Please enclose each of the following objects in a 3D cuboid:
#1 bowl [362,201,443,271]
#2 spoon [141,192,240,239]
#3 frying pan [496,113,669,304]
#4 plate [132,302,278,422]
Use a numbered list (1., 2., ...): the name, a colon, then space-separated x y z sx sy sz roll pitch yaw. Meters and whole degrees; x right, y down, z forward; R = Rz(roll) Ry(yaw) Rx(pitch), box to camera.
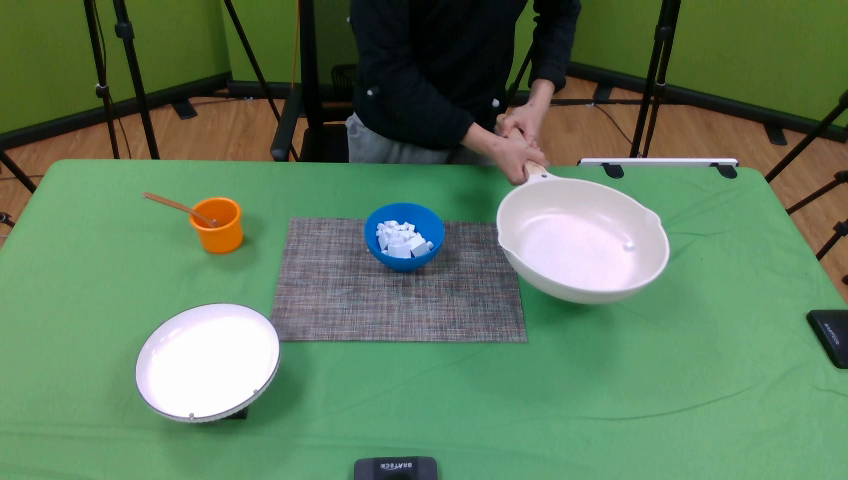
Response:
1. bowl: -0.041 0.005 1.144 0.151 0.077 0.150 3 46 -2
2. spoon: -0.428 -0.048 1.122 0.021 0.195 0.041 -38 44 21
3. frying pan: 0.237 -0.077 1.116 0.307 0.103 0.484 -9 53 -16
4. plate: -0.325 0.186 0.916 0.208 0.039 0.206 3 44 -2
